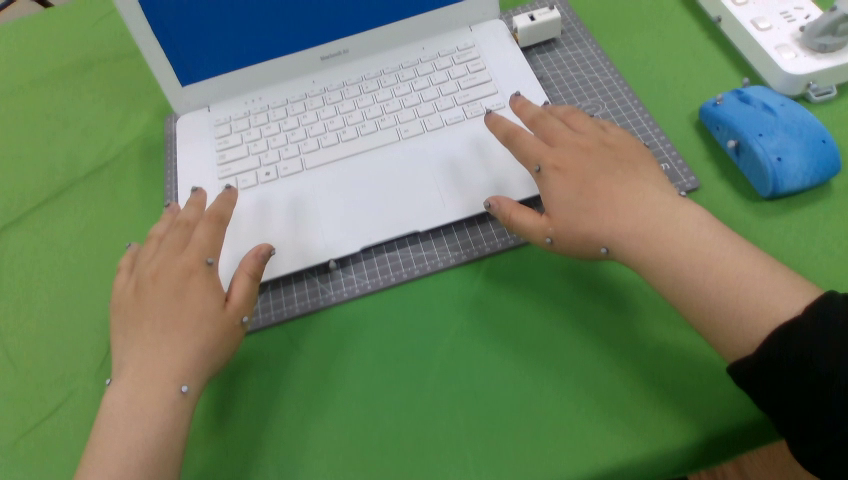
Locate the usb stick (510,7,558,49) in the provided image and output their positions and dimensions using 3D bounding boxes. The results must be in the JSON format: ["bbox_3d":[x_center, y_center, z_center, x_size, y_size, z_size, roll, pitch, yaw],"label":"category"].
[{"bbox_3d":[0.104,-0.211,0.607,0.059,0.027,0.021,-18,53,3],"label":"usb stick"}]

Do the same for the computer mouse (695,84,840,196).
[{"bbox_3d":[0.274,-0.088,0.488,0.063,0.041,0.116,-18,48,1],"label":"computer mouse"}]

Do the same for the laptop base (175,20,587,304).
[{"bbox_3d":[-0.058,-0.085,0.567,0.354,0.023,0.233,-18,57,-1],"label":"laptop base"}]

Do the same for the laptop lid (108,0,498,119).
[{"bbox_3d":[-0.115,-0.260,0.559,0.357,0.244,0.013,-19,41,0],"label":"laptop lid"}]

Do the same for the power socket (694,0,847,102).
[{"bbox_3d":[0.318,-0.216,0.573,0.072,0.033,0.224,-15,54,1],"label":"power socket"}]

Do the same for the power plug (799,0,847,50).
[{"bbox_3d":[0.358,-0.178,0.512,0.072,0.053,0.035,-6,57,7],"label":"power plug"}]
